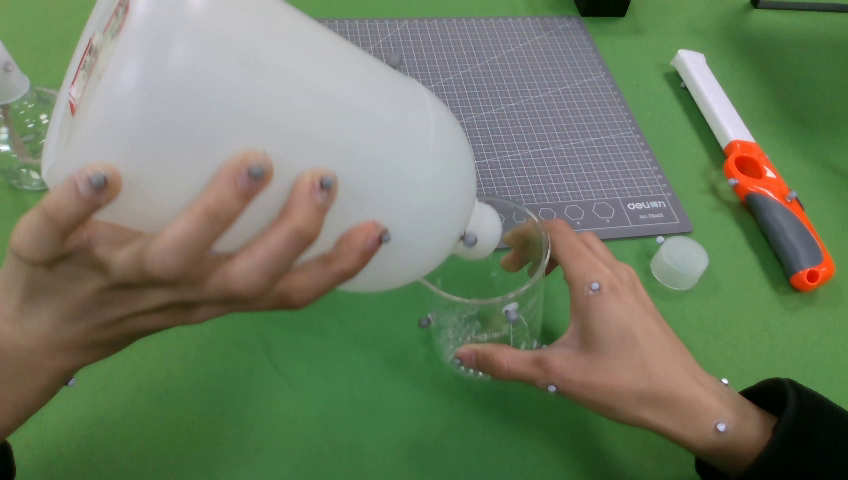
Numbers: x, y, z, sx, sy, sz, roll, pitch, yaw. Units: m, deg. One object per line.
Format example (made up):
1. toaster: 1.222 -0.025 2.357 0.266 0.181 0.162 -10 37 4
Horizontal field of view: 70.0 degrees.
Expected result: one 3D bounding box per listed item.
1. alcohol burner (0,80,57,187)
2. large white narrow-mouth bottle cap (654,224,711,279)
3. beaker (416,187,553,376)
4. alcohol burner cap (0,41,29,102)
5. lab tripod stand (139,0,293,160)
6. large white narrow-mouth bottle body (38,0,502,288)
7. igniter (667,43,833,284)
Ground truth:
1. alcohol burner: -0.286 -0.095 0.420 0.078 0.120 0.077 4 51 -4
2. large white narrow-mouth bottle cap: 0.193 0.009 0.454 0.038 0.024 0.037 3 53 -3
3. beaker: 0.033 0.031 0.359 0.084 0.101 0.073 -16 51 -4
4. alcohol burner cap: -0.283 -0.115 0.390 0.034 0.048 0.033 2 59 -4
5. lab tripod stand: -0.157 -0.156 0.463 0.148 0.132 0.147 4 53 -5
6. large white narrow-mouth bottle body: -0.040 -0.033 0.258 0.196 0.102 0.100 22 42 -39
7. igniter: 0.273 -0.079 0.523 0.057 0.025 0.273 4 53 -17
